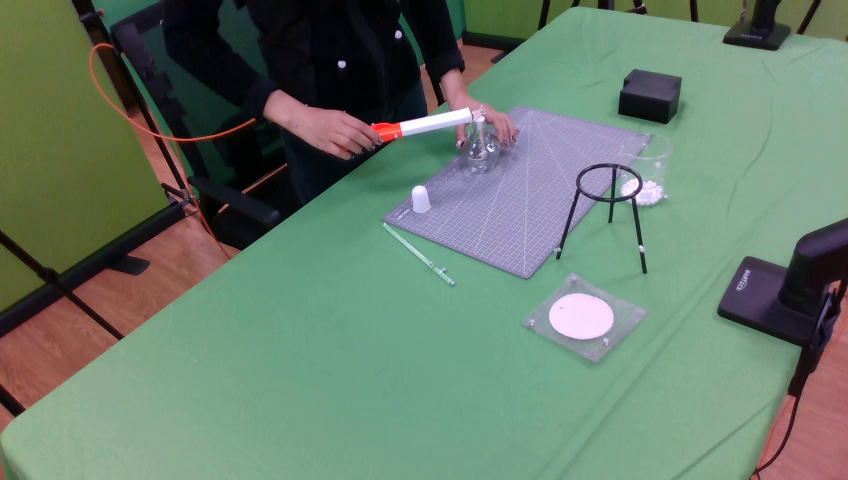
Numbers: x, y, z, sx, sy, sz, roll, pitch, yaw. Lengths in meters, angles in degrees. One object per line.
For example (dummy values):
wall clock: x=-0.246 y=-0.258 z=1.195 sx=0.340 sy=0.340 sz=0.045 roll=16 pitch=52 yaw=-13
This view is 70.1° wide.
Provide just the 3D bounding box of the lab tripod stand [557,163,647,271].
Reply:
lab tripod stand: x=0.271 y=-0.034 z=0.885 sx=0.148 sy=0.132 sz=0.147 roll=-4 pitch=40 yaw=4

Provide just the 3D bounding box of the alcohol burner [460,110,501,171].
alcohol burner: x=0.103 y=-0.186 z=1.105 sx=0.078 sy=0.119 sz=0.077 roll=-4 pitch=42 yaw=4

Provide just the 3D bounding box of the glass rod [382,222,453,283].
glass rod: x=-0.014 y=0.016 z=0.976 sx=0.008 sy=0.008 sz=0.198 roll=-30 pitch=44 yaw=-22

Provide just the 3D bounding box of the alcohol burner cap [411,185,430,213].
alcohol burner cap: x=-0.008 y=-0.074 z=1.050 sx=0.034 sy=0.048 sz=0.033 roll=-4 pitch=41 yaw=4

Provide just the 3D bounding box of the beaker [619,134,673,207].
beaker: x=0.357 y=-0.111 z=0.986 sx=0.084 sy=0.101 sz=0.073 roll=-10 pitch=40 yaw=1

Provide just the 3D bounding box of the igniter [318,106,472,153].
igniter: x=-0.053 y=-0.196 z=1.074 sx=0.277 sy=0.025 sz=0.057 roll=-12 pitch=42 yaw=-1

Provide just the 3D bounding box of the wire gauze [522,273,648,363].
wire gauze: x=0.220 y=0.105 z=0.828 sx=0.125 sy=0.011 sz=0.120 roll=-35 pitch=47 yaw=-30
